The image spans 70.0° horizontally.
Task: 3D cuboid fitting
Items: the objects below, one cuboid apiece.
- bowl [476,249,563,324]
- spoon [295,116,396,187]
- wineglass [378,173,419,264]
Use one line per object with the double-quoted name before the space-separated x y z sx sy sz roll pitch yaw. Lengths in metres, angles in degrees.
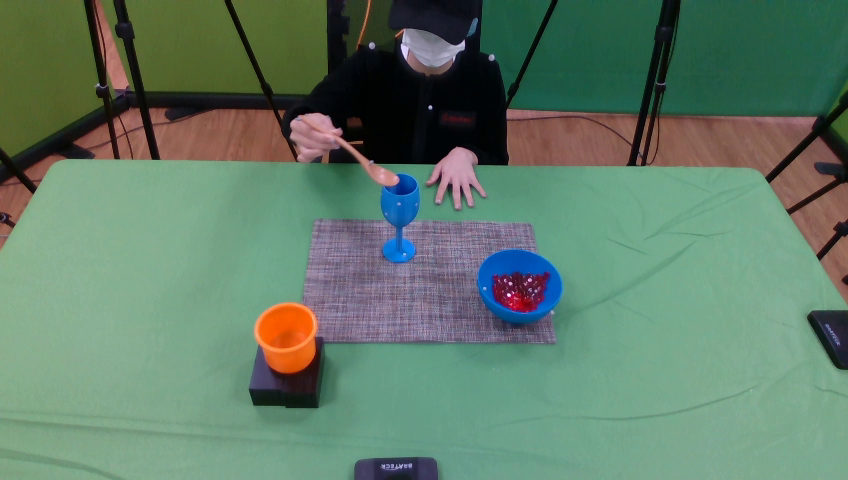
"bowl" 0.163 0.096 1.073 0.151 0.077 0.150 2 45 -2
"spoon" -0.128 -0.146 0.996 0.194 0.021 0.041 37 38 -14
"wineglass" -0.047 -0.037 1.121 0.074 0.173 0.073 2 46 -2
